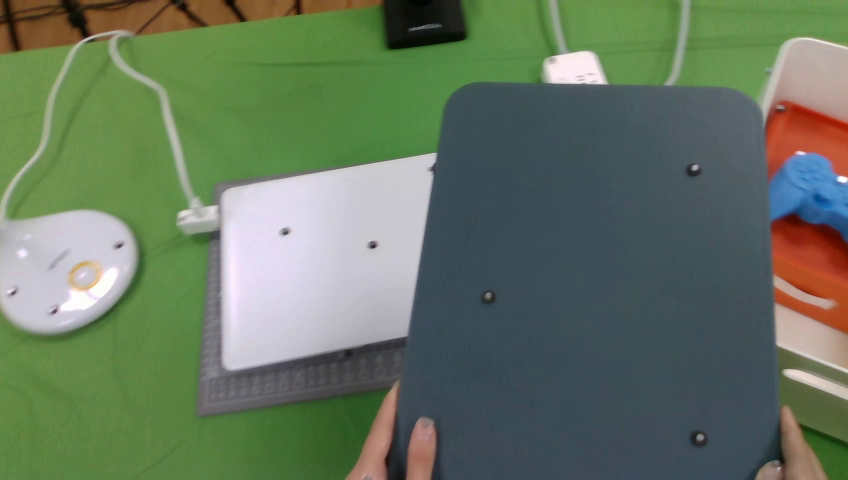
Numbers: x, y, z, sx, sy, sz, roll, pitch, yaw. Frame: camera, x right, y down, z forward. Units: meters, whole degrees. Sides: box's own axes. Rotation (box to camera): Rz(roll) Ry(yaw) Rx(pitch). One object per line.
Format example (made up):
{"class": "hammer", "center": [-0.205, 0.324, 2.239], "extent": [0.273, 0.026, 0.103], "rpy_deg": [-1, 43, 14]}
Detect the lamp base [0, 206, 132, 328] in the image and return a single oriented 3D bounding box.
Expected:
{"class": "lamp base", "center": [-0.444, -0.012, 0.653], "extent": [0.178, 0.182, 0.159], "rpy_deg": [15, 63, 15]}

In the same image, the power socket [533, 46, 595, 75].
{"class": "power socket", "center": [0.200, -0.167, 0.785], "extent": [0.072, 0.033, 0.224], "rpy_deg": [-9, 61, -3]}

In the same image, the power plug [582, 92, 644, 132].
{"class": "power plug", "center": [0.233, -0.155, 0.751], "extent": [0.072, 0.053, 0.035], "rpy_deg": [1, 61, 2]}

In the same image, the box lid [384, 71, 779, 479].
{"class": "box lid", "center": [0.123, 0.029, 0.462], "extent": [0.263, 0.015, 0.369], "rpy_deg": [5, 71, 11]}

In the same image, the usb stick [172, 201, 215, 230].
{"class": "usb stick", "center": [-0.269, -0.030, 0.731], "extent": [0.059, 0.027, 0.021], "rpy_deg": [-7, 56, -4]}

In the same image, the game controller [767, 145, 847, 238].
{"class": "game controller", "center": [0.412, -0.037, 0.609], "extent": [0.154, 0.052, 0.097], "rpy_deg": [34, 65, 20]}

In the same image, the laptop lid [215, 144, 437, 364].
{"class": "laptop lid", "center": [-0.065, 0.001, 0.703], "extent": [0.357, 0.013, 0.239], "rpy_deg": [-9, 64, -2]}

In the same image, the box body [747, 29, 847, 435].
{"class": "box body", "center": [0.416, -0.007, 0.611], "extent": [0.253, 0.162, 0.362], "rpy_deg": [22, 65, 14]}

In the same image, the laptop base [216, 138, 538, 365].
{"class": "laptop base", "center": [-0.065, 0.005, 0.714], "extent": [0.354, 0.023, 0.233], "rpy_deg": [-11, 65, -3]}
